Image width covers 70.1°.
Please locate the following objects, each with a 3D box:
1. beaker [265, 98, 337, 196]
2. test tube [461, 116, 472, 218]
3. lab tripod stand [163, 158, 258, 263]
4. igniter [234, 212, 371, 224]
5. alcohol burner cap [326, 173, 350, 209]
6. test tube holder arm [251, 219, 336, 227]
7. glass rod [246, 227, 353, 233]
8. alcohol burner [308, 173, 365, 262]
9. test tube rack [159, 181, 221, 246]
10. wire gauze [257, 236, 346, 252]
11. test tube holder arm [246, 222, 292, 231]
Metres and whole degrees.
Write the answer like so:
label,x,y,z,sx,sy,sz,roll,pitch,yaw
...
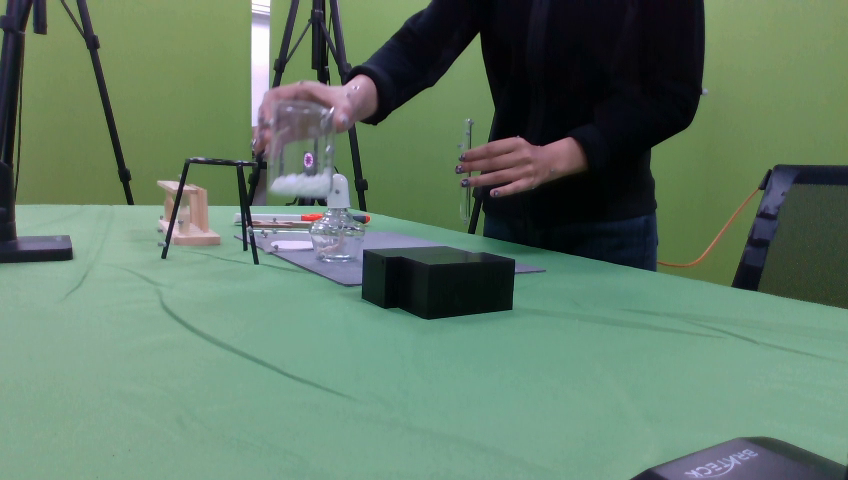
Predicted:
label,x,y,z,sx,sy,sz,roll,pitch,yaw
beaker,-0.132,-0.099,0.661,0.083,0.100,0.074,8,7,39
test tube,0.062,-0.106,0.890,0.017,0.150,0.017,0,10,0
lab tripod stand,-0.265,-0.041,0.802,0.148,0.131,0.148,4,7,0
igniter,-0.245,-0.045,1.247,0.278,0.025,0.057,-1,-2,-26
alcohol burner cap,-0.116,-0.065,0.808,0.034,0.048,0.034,-3,10,1
test tube holder arm,-0.254,-0.031,1.157,0.179,0.015,0.013,-3,46,-31
glass rod,-0.224,-0.017,1.109,0.201,0.008,0.008,1,7,-27
alcohol burner,-0.117,-0.030,0.813,0.078,0.119,0.078,4,9,0
test tube rack,-0.395,-0.050,1.010,0.067,0.085,0.241,-2,8,-28
wire gauze,-0.189,0.006,0.931,0.122,0.011,0.124,1,7,-21
test tube holder arm,-0.291,-0.026,1.130,0.088,0.015,0.010,-2,45,-30
